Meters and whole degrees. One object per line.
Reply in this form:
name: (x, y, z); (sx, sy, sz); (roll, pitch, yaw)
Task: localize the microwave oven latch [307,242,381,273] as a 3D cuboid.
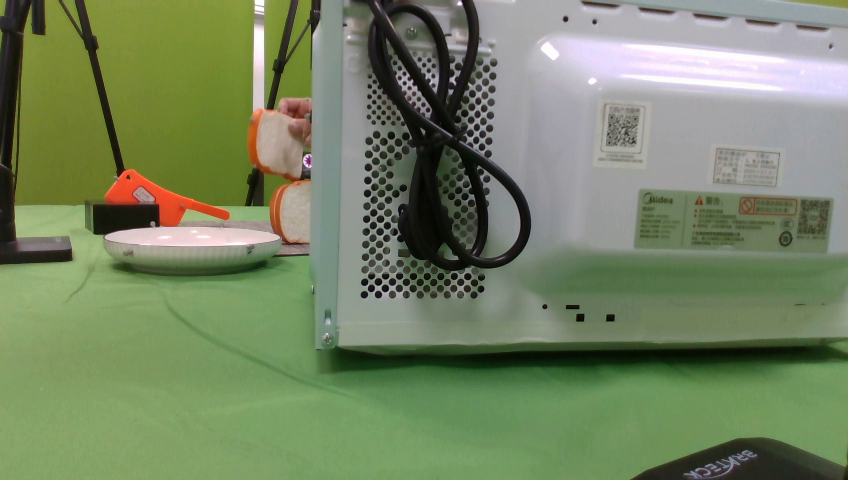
microwave oven latch: (-0.086, 0.019, 0.656); (0.079, 0.029, 0.030); (2, 7, -10)

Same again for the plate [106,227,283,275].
plate: (-0.288, 0.013, 0.772); (0.208, 0.039, 0.207); (2, 7, 0)

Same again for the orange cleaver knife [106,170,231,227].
orange cleaver knife: (-0.458, -0.060, 1.097); (0.212, 0.077, 0.012); (23, -4, -37)

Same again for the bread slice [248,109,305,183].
bread slice: (-0.239, -0.159, 0.989); (0.018, 0.107, 0.135); (4, -4, 22)

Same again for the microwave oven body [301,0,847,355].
microwave oven body: (0.120, -0.053, 0.535); (0.443, 0.260, 0.325); (2, 7, -11)

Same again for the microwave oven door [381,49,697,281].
microwave oven door: (0.135, -0.077, 0.685); (0.357, 0.243, 0.039); (1, 8, -12)
